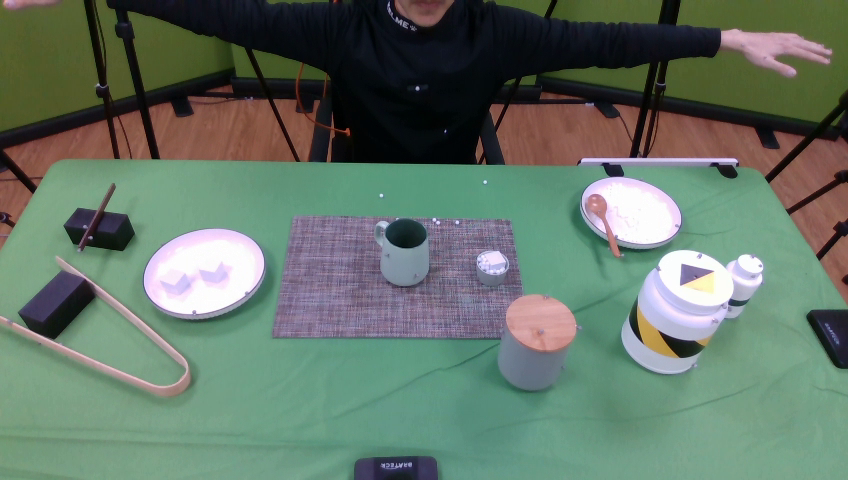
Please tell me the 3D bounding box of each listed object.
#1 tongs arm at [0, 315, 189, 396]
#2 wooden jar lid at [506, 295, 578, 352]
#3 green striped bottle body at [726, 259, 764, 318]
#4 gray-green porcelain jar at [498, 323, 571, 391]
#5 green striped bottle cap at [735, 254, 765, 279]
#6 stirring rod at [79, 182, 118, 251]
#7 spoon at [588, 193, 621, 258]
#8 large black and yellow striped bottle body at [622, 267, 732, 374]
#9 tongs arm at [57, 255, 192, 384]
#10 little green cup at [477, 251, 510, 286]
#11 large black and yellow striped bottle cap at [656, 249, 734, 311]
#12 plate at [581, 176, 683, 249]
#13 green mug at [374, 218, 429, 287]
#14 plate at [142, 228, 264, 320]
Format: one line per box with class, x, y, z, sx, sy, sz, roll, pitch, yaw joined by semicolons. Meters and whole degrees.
tongs arm;-0.555;0.170;0.981;0.384;0.026;0.050;21;43;14
wooden jar lid;0.179;0.129;0.925;0.108;0.021;0.107;2;43;-2
green striped bottle body;0.563;0.081;1.089;0.063;0.120;0.063;2;46;-2
gray-green porcelain jar;0.176;0.172;0.971;0.106;0.127;0.105;2;46;-2
green striped bottle cap;0.566;0.046;1.051;0.044;0.020;0.044;0;45;0
stirring rod;-0.605;-0.047;1.130;0.006;0.014;0.175;0;47;0
spoon;0.367;-0.032;1.220;0.041;0.022;0.192;1;38;-1
large black and yellow striped bottle body;0.415;0.119;0.997;0.131;0.185;0.130;2;46;-2
tongs arm;-0.517;0.126;1.033;0.386;0.028;0.028;30;43;23
little green cup;0.128;0.055;1.135;0.061;0.039;0.061;1;47;-1
large black and yellow striped bottle cap;0.419;0.061;0.938;0.115;0.019;0.114;2;47;-2
plate;0.430;-0.054;1.267;0.209;0.038;0.208;2;46;-2
green mug;-0.047;0.015;1.116;0.124;0.105;0.092;36;54;26
plate;-0.394;0.064;1.095;0.208;0.039;0.206;2;46;-2
